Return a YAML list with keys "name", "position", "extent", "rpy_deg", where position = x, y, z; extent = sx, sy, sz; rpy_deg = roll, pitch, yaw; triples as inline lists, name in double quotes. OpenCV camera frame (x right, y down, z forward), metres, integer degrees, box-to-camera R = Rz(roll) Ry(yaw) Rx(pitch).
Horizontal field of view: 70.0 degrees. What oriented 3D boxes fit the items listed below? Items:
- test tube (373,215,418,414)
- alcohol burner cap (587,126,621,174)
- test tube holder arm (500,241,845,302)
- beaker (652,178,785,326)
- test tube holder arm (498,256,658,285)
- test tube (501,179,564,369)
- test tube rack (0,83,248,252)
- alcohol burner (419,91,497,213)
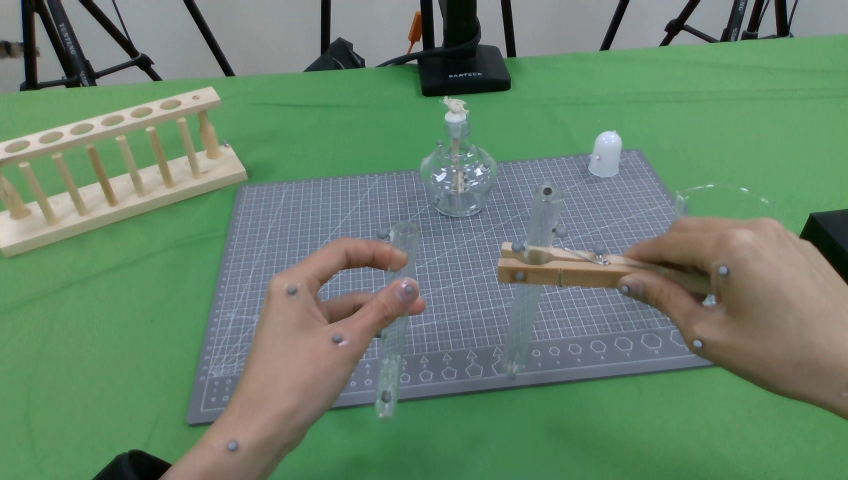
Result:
- name: "test tube"
  position: [-0.019, 0.052, 0.368]
  extent: [0.017, 0.151, 0.017]
  rpy_deg: [5, 33, -3]
- name: "alcohol burner cap"
  position: [0.193, -0.099, 0.647]
  extent: [0.034, 0.048, 0.033]
  rpy_deg: [-1, 42, 2]
- name: "test tube holder arm"
  position: [0.131, 0.016, 0.338]
  extent: [0.178, 0.015, 0.013]
  rpy_deg: [5, 48, 16]
- name: "beaker"
  position: [0.223, 0.011, 0.478]
  extent: [0.074, 0.101, 0.083]
  rpy_deg: [-26, 46, -24]
- name: "test tube holder arm"
  position: [0.086, 0.017, 0.345]
  extent: [0.087, 0.015, 0.010]
  rpy_deg: [1, 47, 12]
- name: "test tube"
  position: [0.063, 0.028, 0.367]
  extent: [0.017, 0.151, 0.017]
  rpy_deg: [2, 41, -1]
- name: "test tube rack"
  position: [-0.318, -0.079, 0.624]
  extent: [0.243, 0.086, 0.066]
  rpy_deg: [-22, 45, -21]
- name: "alcohol burner"
  position: [0.032, -0.087, 0.588]
  extent: [0.078, 0.120, 0.077]
  rpy_deg: [-3, 40, 3]
